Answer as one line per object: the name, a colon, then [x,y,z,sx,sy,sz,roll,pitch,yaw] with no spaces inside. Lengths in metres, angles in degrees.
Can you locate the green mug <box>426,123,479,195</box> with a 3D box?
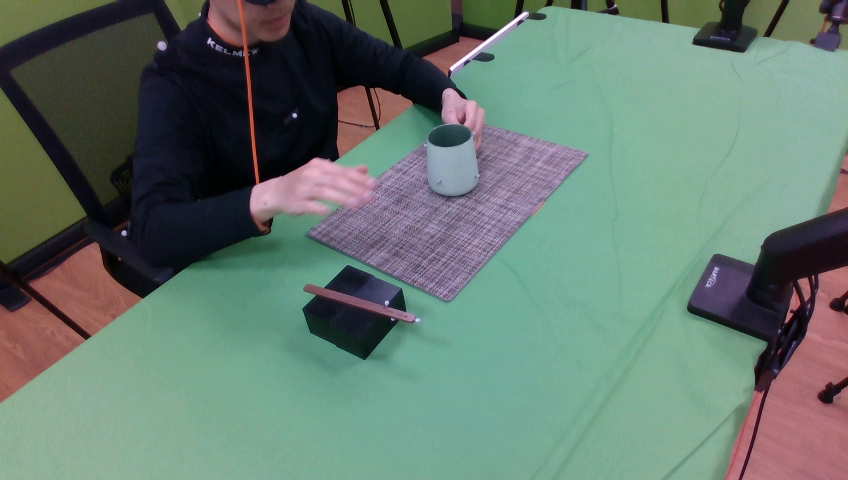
green mug: [0.053,-0.151,1.067,0.092,0.105,0.125,5,42,15]

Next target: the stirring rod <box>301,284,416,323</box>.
stirring rod: [-0.091,0.085,0.818,0.175,0.006,0.014,13,45,21]
